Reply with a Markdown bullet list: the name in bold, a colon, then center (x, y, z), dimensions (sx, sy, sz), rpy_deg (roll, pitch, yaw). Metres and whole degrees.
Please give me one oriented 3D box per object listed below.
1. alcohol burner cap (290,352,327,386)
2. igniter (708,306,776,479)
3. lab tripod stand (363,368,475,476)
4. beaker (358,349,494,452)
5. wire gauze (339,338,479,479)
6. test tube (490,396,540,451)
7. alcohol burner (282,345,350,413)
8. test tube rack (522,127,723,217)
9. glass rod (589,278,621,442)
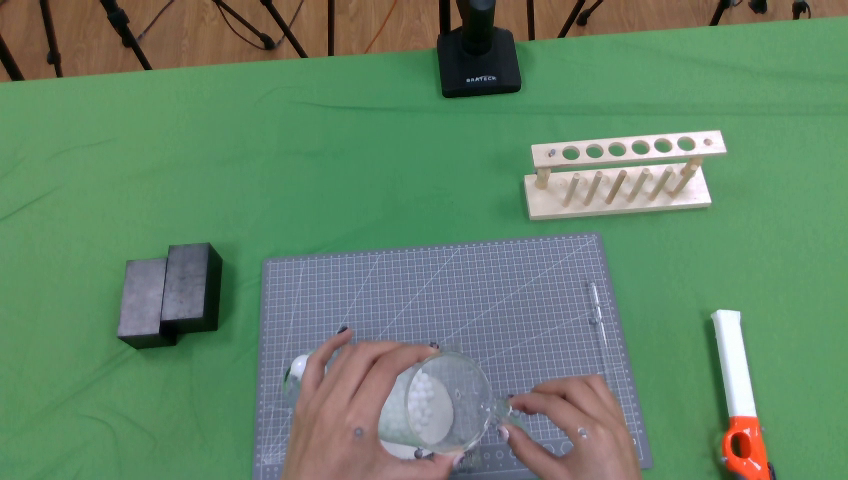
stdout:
- **alcohol burner cap**: center (-0.125, 0.135, 0.644), dimensions (0.034, 0.048, 0.033), rpy_deg (-2, 69, 6)
- **igniter**: center (0.361, 0.208, 0.689), dimensions (0.057, 0.025, 0.274), rpy_deg (6, 65, -7)
- **lab tripod stand**: center (-0.014, 0.192, 0.644), dimensions (0.148, 0.132, 0.147), rpy_deg (-1, 64, 3)
- **beaker**: center (-0.003, 0.127, 0.486), dimensions (0.084, 0.100, 0.073), rpy_deg (11, 73, -26)
- **wire gauze**: center (-0.017, 0.160, 0.585), dimensions (0.125, 0.011, 0.120), rpy_deg (-7, 63, -2)
- **test tube**: center (0.082, 0.164, 0.533), dimensions (0.017, 0.152, 0.017), rpy_deg (-10, 58, 16)
- **alcohol burner**: center (-0.124, 0.150, 0.677), dimensions (0.078, 0.120, 0.077), rpy_deg (-1, 62, 2)
- **test tube rack**: center (0.259, -0.088, 0.800), dimensions (0.242, 0.086, 0.066), rpy_deg (-5, 64, 0)
- **glass rod**: center (0.218, 0.140, 0.732), dimensions (0.008, 0.008, 0.198), rpy_deg (-3, 67, 0)
